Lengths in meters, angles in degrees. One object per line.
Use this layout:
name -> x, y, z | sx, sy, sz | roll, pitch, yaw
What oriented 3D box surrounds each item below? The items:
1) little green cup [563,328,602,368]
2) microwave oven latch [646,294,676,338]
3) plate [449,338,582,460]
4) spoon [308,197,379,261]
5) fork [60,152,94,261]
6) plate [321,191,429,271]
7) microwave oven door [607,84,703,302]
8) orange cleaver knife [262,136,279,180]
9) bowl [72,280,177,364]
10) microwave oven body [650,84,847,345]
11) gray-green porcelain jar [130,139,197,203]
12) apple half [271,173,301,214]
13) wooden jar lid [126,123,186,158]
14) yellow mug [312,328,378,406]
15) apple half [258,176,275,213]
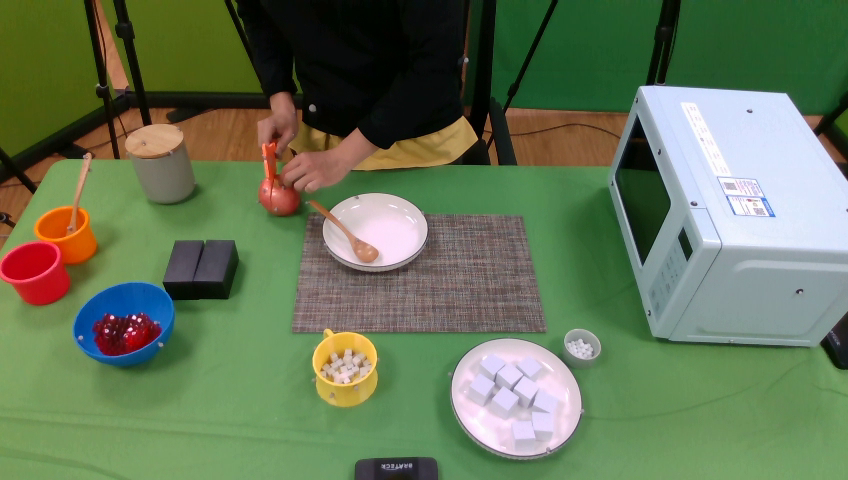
little green cup -> 0.266, 0.185, 1.025 | 0.061, 0.039, 0.061 | 1, 45, -1
microwave oven latch -> 0.412, 0.133, 1.061 | 0.030, 0.029, 0.078 | 3, 46, 1
plate -> 0.141, 0.251, 0.956 | 0.208, 0.039, 0.206 | 2, 46, -2
spoon -> -0.158, -0.025, 1.172 | 0.041, 0.022, 0.193 | -40, 73, -20
fork -> -0.638, -0.063, 1.119 | 0.028, 0.018, 0.207 | 12, 90, 8
plate -> -0.094, -0.015, 1.185 | 0.209, 0.038, 0.208 | 2, 46, -2
microwave oven door -> 0.423, -0.096, 1.138 | 0.039, 0.245, 0.353 | 3, 46, -1
orange cleaver knife -> -0.306, -0.168, 1.223 | 0.012, 0.077, 0.210 | -7, 18, -5
bowl -> -0.473, 0.147, 0.982 | 0.151, 0.077, 0.150 | 2, 46, -2
microwave oven body -> 0.569, -0.054, 1.116 | 0.326, 0.261, 0.439 | 2, 46, -1
gray-green porcelain jar -> -0.522, -0.147, 1.224 | 0.106, 0.127, 0.105 | 2, 47, -2
apple half -> -0.276, -0.092, 1.227 | 0.053, 0.075, 0.080 | 2, 42, -6
wooden jar lid -> -0.519, -0.190, 1.179 | 0.108, 0.021, 0.107 | 2, 44, -2
yellow mug -> -0.132, 0.193, 0.971 | 0.100, 0.064, 0.130 | -22, 51, -22
apple half -> -0.317, -0.092, 1.222 | 0.033, 0.081, 0.081 | 0, 47, -7
